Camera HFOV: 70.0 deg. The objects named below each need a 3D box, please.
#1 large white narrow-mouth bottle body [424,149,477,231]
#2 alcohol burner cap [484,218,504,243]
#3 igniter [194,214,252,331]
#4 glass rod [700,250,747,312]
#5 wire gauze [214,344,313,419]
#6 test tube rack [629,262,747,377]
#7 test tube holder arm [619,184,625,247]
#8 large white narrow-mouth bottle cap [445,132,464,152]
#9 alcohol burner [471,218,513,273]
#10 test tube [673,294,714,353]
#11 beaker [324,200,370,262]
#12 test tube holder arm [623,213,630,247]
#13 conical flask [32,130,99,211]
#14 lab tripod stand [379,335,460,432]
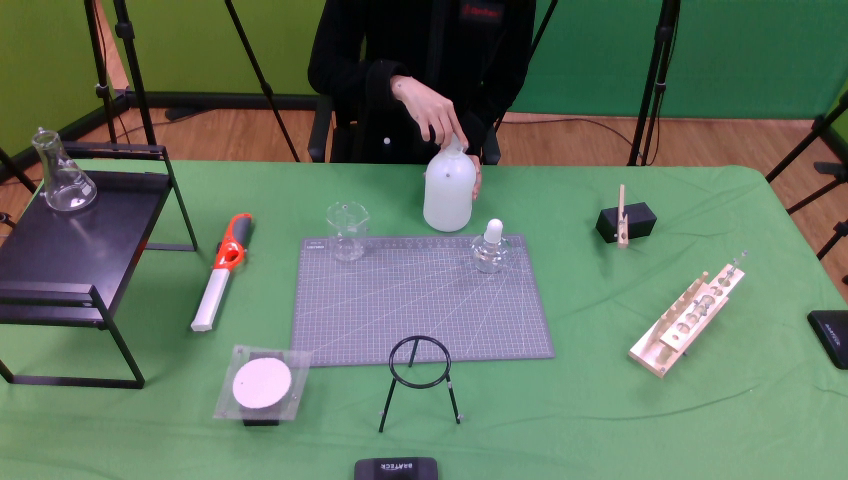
[{"bbox_3d":[0.054,-0.115,1.191,0.102,0.195,0.101,2,46,-2],"label":"large white narrow-mouth bottle body"},{"bbox_3d":[0.130,-0.021,1.106,0.034,0.048,0.033,3,51,-4],"label":"alcohol burner cap"},{"bbox_3d":[-0.367,0.050,1.119,0.057,0.025,0.275,-4,45,7],"label":"igniter"},{"bbox_3d":[0.500,0.075,1.021,0.008,0.201,0.008,0,54,1],"label":"glass rod"},{"bbox_3d":[-0.241,0.213,0.916,0.121,0.011,0.124,5,46,1],"label":"wire gauze"},{"bbox_3d":[0.464,0.126,1.060,0.242,0.085,0.066,-34,56,-31],"label":"test tube rack"},{"bbox_3d":[0.396,-0.052,1.210,0.013,0.015,0.177,14,46,2],"label":"test tube holder arm"},{"bbox_3d":[0.058,-0.181,1.121,0.038,0.024,0.037,2,46,-2],"label":"large white narrow-mouth bottle cap"},{"bbox_3d":[0.128,0.005,1.132,0.078,0.120,0.077,0,47,0],"label":"alcohol burner"},{"bbox_3d":[0.428,0.137,0.978,0.017,0.151,0.017,4,47,-4],"label":"test tube"},{"bbox_3d":[-0.143,-0.015,1.142,0.084,0.101,0.073,1,46,-3],"label":"beaker"},{"bbox_3d":[0.393,-0.020,1.179,0.010,0.015,0.087,13,46,2],"label":"test tube holder arm"},{"bbox_3d":[-0.565,-0.111,0.944,0.075,0.122,0.075,2,46,-2],"label":"conical flask"},{"bbox_3d":[-0.011,0.214,0.912,0.148,0.132,0.147,1,45,0],"label":"lab tripod stand"}]
